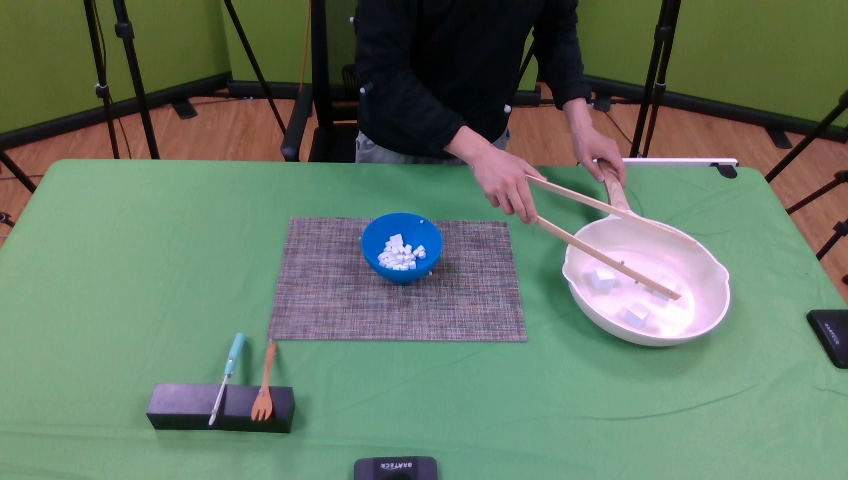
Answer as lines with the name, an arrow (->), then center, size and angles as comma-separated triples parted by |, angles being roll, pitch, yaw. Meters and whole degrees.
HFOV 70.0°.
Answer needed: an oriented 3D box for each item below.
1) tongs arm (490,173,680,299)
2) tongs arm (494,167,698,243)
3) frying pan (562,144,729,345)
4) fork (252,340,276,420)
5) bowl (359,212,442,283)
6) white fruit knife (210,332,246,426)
tongs arm -> 0.286, -0.008, 1.088 | 0.384, 0.026, 0.050 | 28, 70, 4
tongs arm -> 0.315, -0.063, 1.112 | 0.387, 0.028, 0.028 | 20, 73, 1
frying pan -> 0.396, -0.008, 1.179 | 0.307, 0.103, 0.484 | 1, 55, -4
fork -> -0.242, 0.211, 0.932 | 0.028, 0.019, 0.206 | -5, 27, -7
bowl -> -0.044, 0.026, 1.125 | 0.151, 0.077, 0.150 | 2, 46, -2
white fruit knife -> -0.301, 0.206, 0.930 | 0.016, 0.027, 0.206 | 5, 29, -7
